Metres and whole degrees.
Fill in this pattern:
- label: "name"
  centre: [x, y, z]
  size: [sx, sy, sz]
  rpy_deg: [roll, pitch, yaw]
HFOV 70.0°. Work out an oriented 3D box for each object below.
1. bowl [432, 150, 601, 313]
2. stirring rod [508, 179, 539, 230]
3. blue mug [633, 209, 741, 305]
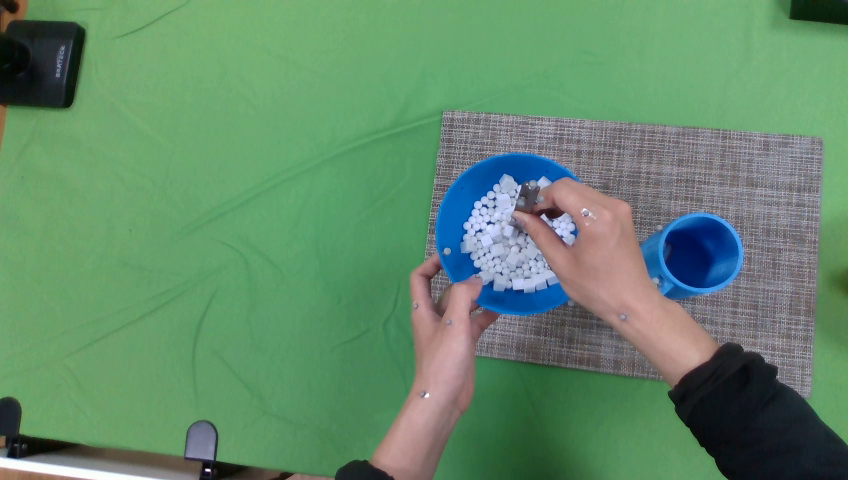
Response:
- label: "bowl"
  centre: [0.085, -0.002, 0.579]
  size: [0.151, 0.077, 0.151]
  rpy_deg: [0, 81, 2]
- label: "stirring rod"
  centre: [0.082, -0.026, 0.513]
  size: [0.014, 0.177, 0.006]
  rpy_deg: [19, 83, 7]
- label: "blue mug"
  centre: [0.271, 0.028, 0.658]
  size: [0.082, 0.106, 0.116]
  rpy_deg: [44, 90, 11]
